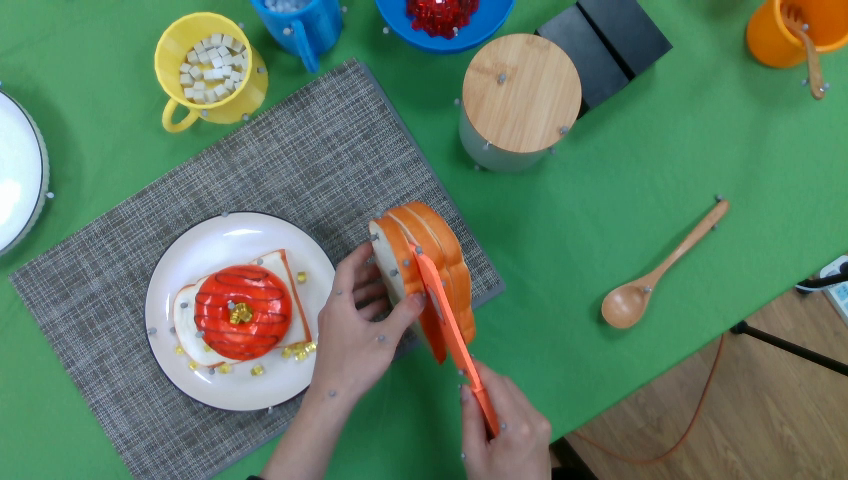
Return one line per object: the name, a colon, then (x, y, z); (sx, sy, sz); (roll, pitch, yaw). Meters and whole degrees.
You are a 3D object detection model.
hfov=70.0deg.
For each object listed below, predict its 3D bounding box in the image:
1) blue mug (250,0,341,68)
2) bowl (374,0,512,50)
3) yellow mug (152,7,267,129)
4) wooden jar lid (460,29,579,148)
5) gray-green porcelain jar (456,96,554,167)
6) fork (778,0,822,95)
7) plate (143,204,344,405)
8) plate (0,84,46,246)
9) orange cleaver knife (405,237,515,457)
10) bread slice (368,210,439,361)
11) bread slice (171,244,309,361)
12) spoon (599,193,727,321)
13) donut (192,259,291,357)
blue mug: (-0.131, -0.237, 0.625); (0.082, 0.106, 0.116); (-12, 88, -1)
bowl: (0.019, -0.267, 0.641); (0.151, 0.077, 0.151); (0, 88, 0)
yellow mug: (-0.234, -0.172, 0.641); (0.100, 0.064, 0.131); (36, 89, 2)
wooden jar lid: (0.086, -0.136, 0.551); (0.108, 0.020, 0.108); (0, 89, -4)
gray-green porcelain jar: (0.087, -0.133, 0.614); (0.106, 0.126, 0.105); (0, 88, -1)
fork: (0.379, -0.201, 0.607); (0.028, 0.019, 0.206); (30, 44, -6)
plate: (-0.187, 0.068, 0.644); (0.209, 0.038, 0.209); (0, 88, 0)
plate: (-0.505, -0.078, 0.649); (0.208, 0.039, 0.207); (0, 88, -1)
orange cleaver knife: (0.030, 0.094, 0.542); (0.012, 0.077, 0.212); (-25, 99, -13)
bread slice: (-0.022, 0.036, 0.587); (0.018, 0.106, 0.135); (-23, 121, -12)
bread slice: (-0.200, 0.073, 0.647); (0.131, 0.019, 0.104); (-19, 88, -5)
spoon: (0.265, 0.017, 0.662); (0.193, 0.022, 0.041); (-44, 71, -2)
donut: (-0.185, 0.068, 0.616); (0.099, 0.048, 0.099); (0, 88, -4)
